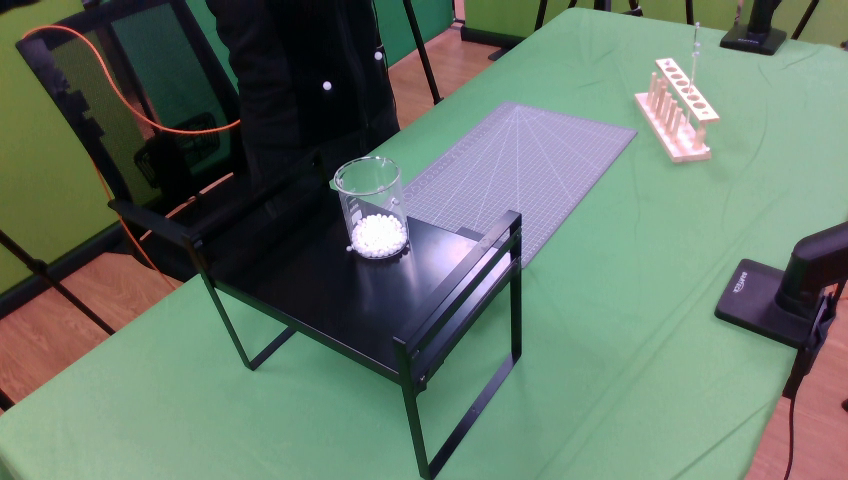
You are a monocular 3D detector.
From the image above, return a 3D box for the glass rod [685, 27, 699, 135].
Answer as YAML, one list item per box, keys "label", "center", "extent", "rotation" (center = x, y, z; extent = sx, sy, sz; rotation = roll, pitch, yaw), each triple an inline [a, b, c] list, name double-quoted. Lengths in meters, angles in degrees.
- label: "glass rod"
  center: [0.478, -0.279, 1.078]
  extent: [0.008, 0.200, 0.008]
  rotation: [-7, 34, 5]

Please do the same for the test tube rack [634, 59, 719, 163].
- label: "test tube rack"
  center: [0.470, -0.250, 1.148]
  extent: [0.067, 0.085, 0.241]
  rotation: [-6, 40, 3]

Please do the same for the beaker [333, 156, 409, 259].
- label: "beaker"
  center: [-0.055, -0.036, 0.688]
  extent: [0.073, 0.101, 0.084]
  rotation: [11, 43, 20]
